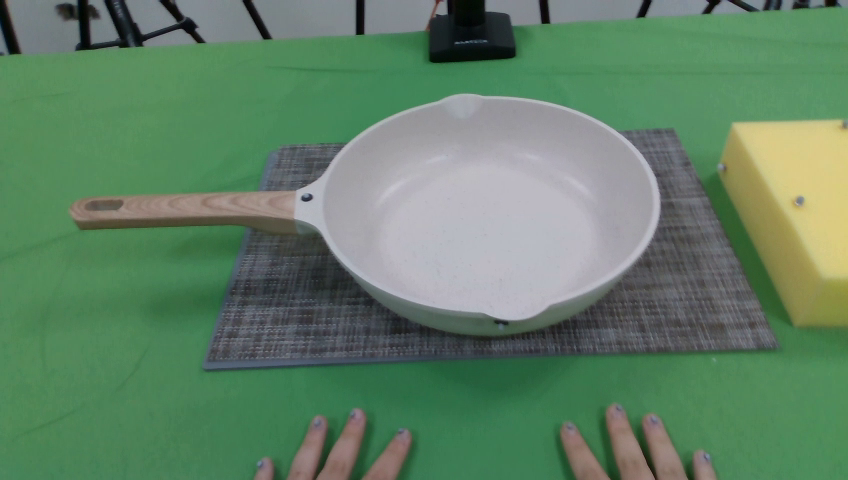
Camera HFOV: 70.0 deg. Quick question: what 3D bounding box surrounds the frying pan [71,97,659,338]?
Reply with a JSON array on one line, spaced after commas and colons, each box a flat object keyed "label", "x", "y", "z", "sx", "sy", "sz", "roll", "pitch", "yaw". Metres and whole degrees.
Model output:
[{"label": "frying pan", "x": -0.049, "y": -0.026, "z": 0.535, "sx": 0.489, "sy": 0.103, "sz": 0.303, "roll": 1, "pitch": 42, "yaw": -6}]

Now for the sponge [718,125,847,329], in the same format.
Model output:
[{"label": "sponge", "x": 0.355, "y": -0.019, "z": 0.530, "sx": 0.118, "sy": 0.061, "sz": 0.205, "roll": -1, "pitch": 43, "yaw": 4}]
